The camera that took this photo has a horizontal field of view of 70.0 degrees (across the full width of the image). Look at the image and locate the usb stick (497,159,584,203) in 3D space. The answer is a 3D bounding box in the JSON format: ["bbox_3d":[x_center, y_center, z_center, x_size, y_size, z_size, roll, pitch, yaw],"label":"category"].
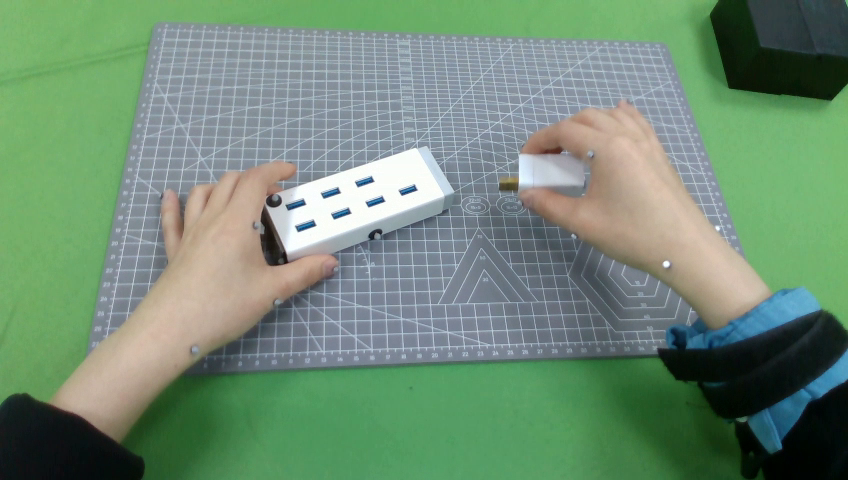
[{"bbox_3d":[0.080,-0.041,0.422,0.059,0.021,0.027,-3,67,2],"label":"usb stick"}]

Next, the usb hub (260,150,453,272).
[{"bbox_3d":[-0.046,-0.023,0.424,0.125,0.025,0.049,-21,64,-18],"label":"usb hub"}]
